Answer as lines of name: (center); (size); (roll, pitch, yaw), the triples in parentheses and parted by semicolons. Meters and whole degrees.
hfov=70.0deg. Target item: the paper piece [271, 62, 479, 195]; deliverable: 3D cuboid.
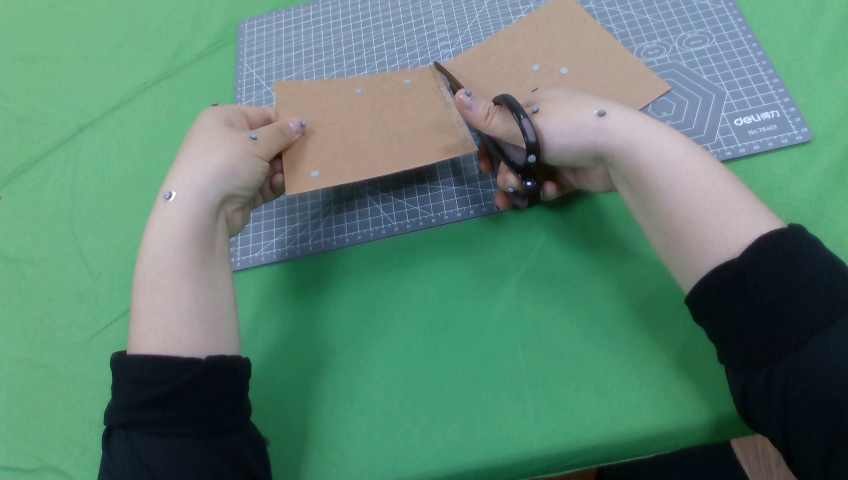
paper piece: (-0.044, -0.091, 0.456); (0.138, 0.009, 0.134); (-13, 43, -5)

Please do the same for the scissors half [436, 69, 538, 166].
scissors half: (0.037, -0.101, 0.442); (0.013, 0.040, 0.173); (-17, 34, -13)

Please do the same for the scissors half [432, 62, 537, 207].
scissors half: (0.039, -0.087, 0.457); (0.013, 0.040, 0.173); (-20, 55, -10)

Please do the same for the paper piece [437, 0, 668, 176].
paper piece: (0.101, -0.134, 0.495); (0.135, 0.004, 0.134); (-33, 67, -8)
